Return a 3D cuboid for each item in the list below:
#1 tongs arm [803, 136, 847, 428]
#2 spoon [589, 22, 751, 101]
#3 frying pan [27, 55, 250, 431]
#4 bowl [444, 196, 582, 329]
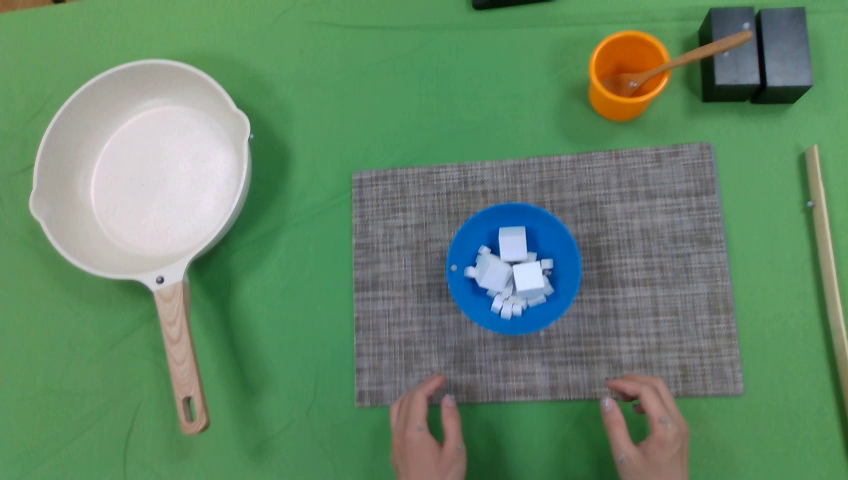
[{"bbox_3d":[0.467,0.069,0.679,0.028,0.028,0.386,-4,79,5],"label":"tongs arm"},{"bbox_3d":[0.272,-0.203,0.691,0.022,0.193,0.041,2,80,-36],"label":"spoon"},{"bbox_3d":[-0.329,-0.001,0.758,0.307,0.103,0.484,-20,69,5],"label":"frying pan"},{"bbox_3d":[0.102,0.031,0.703,0.151,0.077,0.151,-1,80,8],"label":"bowl"}]
